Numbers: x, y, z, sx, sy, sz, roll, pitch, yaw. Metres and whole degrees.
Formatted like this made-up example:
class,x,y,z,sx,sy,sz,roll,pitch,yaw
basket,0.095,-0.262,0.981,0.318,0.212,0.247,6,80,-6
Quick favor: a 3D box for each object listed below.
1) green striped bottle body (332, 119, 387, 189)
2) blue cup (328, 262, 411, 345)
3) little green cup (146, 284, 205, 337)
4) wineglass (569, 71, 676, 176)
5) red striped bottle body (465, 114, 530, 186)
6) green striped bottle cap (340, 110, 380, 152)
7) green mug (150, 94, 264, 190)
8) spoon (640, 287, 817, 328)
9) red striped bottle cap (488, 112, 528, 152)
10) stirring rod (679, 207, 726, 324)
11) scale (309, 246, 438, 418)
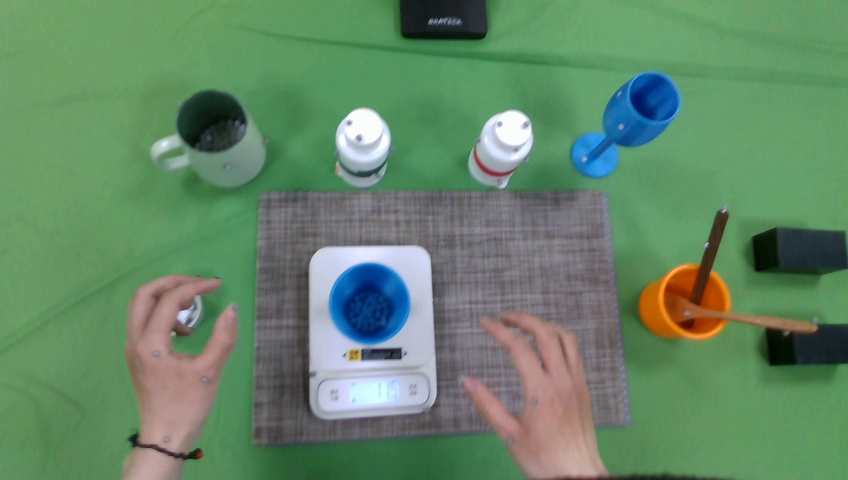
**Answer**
class,x,y,z,sx,sy,sz,roll,pitch,yaw
green striped bottle body,-0.078,-0.108,0.729,0.063,0.119,0.063,1,77,-6
blue cup,-0.061,0.074,0.665,0.093,0.100,0.092,1,80,-7
little green cup,-0.285,0.083,0.703,0.062,0.039,0.061,2,77,-8
wineglass,0.238,-0.137,0.747,0.074,0.172,0.073,1,77,-6
red striped bottle body,0.092,-0.114,0.751,0.063,0.120,0.062,2,77,-7
green striped bottle cap,-0.071,-0.122,0.675,0.044,0.020,0.044,1,77,-5
green mug,-0.258,-0.108,0.715,0.125,0.105,0.092,-23,81,-11
spoon,0.357,0.087,0.725,0.022,0.192,0.041,20,79,-47
red striped bottle cap,0.098,-0.126,0.699,0.044,0.018,0.044,2,75,-6
stirring rod,0.336,0.036,0.734,0.014,0.177,0.006,4,36,7
scale,-0.061,0.107,0.725,0.149,0.031,0.200,-2,78,-7
